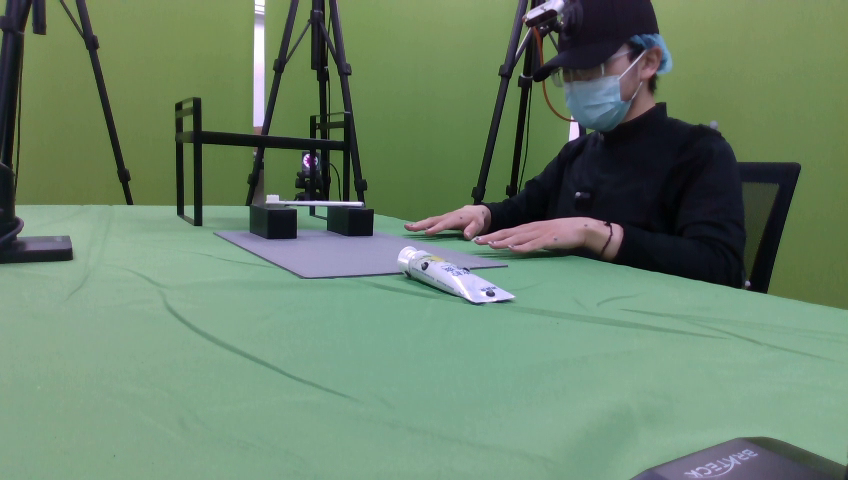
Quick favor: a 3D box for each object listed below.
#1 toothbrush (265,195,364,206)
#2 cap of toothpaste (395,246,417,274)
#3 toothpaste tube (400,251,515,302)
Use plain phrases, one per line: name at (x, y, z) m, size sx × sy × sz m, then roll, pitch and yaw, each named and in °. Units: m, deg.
toothbrush at (-0.194, -0.069, 1.089) m, size 0.183 × 0.016 × 0.014 m, roll 0°, pitch -6°, yaw -27°
cap of toothpaste at (-0.018, 0.025, 0.738) m, size 0.037 × 0.037 × 0.011 m, roll -4°, pitch 11°, yaw -41°
toothpaste tube at (0.026, 0.041, 0.673) m, size 0.055 × 0.034 × 0.164 m, roll -10°, pitch 17°, yaw -34°
